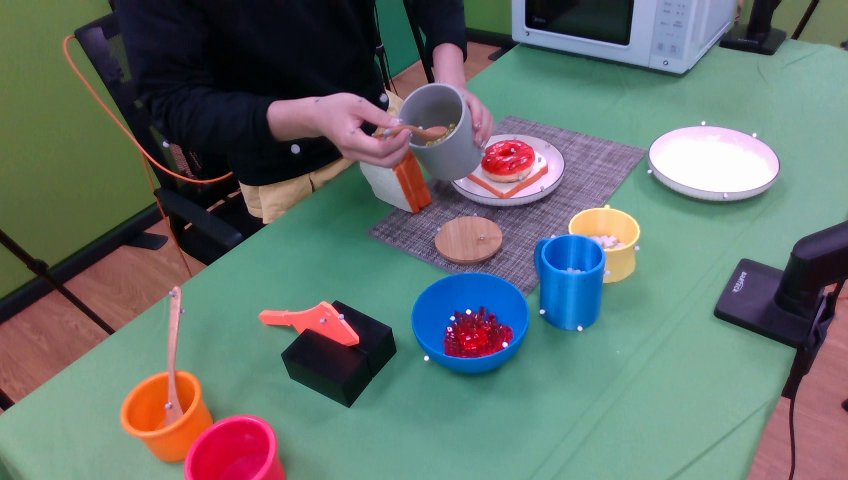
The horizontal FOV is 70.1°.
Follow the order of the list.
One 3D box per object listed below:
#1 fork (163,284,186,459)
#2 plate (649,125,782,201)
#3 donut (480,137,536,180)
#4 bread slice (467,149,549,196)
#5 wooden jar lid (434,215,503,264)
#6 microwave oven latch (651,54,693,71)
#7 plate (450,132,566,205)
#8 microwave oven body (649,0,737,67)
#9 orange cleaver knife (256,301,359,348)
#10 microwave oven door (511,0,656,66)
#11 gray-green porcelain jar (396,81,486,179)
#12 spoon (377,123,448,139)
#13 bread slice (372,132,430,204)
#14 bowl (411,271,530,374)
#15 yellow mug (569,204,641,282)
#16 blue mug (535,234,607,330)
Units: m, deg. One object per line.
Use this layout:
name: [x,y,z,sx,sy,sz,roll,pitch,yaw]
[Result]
fork: [-0.302,0.157,0.733,0.028,0.019,0.207,-3,84,16]
plate: [0.493,-0.127,1.036,0.207,0.039,0.206,-4,41,4]
donut: [0.145,-0.144,1.056,0.099,0.048,0.098,-5,42,5]
bread slice: [0.156,-0.128,1.085,0.132,0.019,0.104,-34,48,-23]
wooden jar lid: [0.070,0.001,0.956,0.108,0.021,0.108,-4,40,4]
microwave oven latch: [0.531,-0.386,1.301,0.078,0.029,0.030,26,51,33]
plate: [0.146,-0.124,1.076,0.209,0.038,0.208,-4,41,4]
microwave oven body: [0.475,-0.602,1.411,0.438,0.261,0.327,23,50,32]
orange cleaver knife: [-0.160,0.115,0.813,0.210,0.077,0.012,-9,29,48]
microwave oven door: [0.351,-0.539,1.348,0.353,0.245,0.039,24,50,31]
gray-green porcelain jar: [0.030,-0.157,0.898,0.105,0.127,0.105,-7,68,19]
spoon: [-0.016,-0.140,0.765,0.041,0.021,0.194,2,8,22]
bread slice: [-0.043,-0.126,1.038,0.106,0.135,0.018,30,61,34]
bowl: [0.062,0.120,0.780,0.151,0.077,0.150,-4,40,4]
yellow mug: [0.268,-0.005,0.904,0.099,0.064,0.130,7,41,15]
blue mug: [0.191,0.048,0.824,0.082,0.106,0.115,-26,44,-20]
